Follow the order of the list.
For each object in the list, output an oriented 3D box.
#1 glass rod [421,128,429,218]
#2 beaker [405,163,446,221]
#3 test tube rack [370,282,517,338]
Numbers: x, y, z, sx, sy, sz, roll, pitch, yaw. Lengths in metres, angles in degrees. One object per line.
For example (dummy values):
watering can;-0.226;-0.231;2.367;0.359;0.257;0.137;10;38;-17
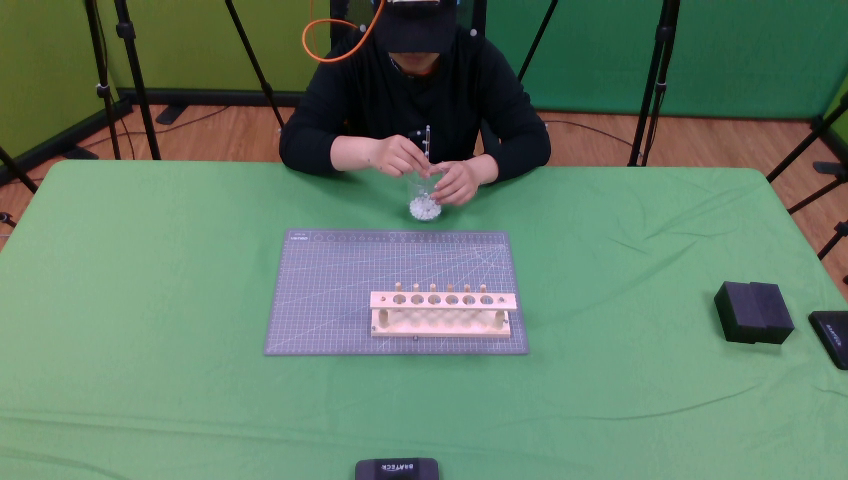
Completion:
glass rod;0.001;-0.126;1.179;0.008;0.200;0.008;2;36;-2
beaker;0.004;-0.095;1.222;0.084;0.101;0.073;-15;47;-14
test tube rack;0.030;0.116;1.041;0.242;0.085;0.066;1;46;-3
